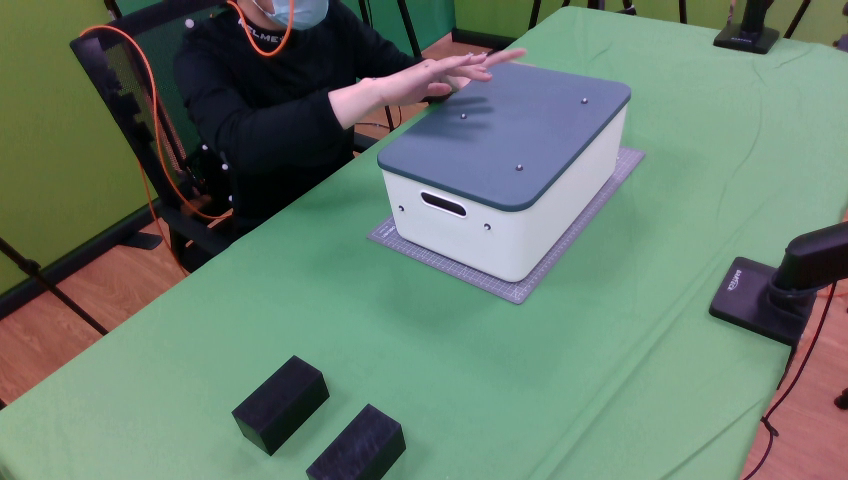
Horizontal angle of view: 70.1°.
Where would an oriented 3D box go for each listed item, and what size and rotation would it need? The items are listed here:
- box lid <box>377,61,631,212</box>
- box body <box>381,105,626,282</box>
[{"bbox_3d":[0.131,-0.178,0.930,0.261,0.015,0.372,22,49,30],"label":"box lid"},{"bbox_3d":[0.137,-0.121,0.978,0.252,0.161,0.365,22,48,30],"label":"box body"}]
